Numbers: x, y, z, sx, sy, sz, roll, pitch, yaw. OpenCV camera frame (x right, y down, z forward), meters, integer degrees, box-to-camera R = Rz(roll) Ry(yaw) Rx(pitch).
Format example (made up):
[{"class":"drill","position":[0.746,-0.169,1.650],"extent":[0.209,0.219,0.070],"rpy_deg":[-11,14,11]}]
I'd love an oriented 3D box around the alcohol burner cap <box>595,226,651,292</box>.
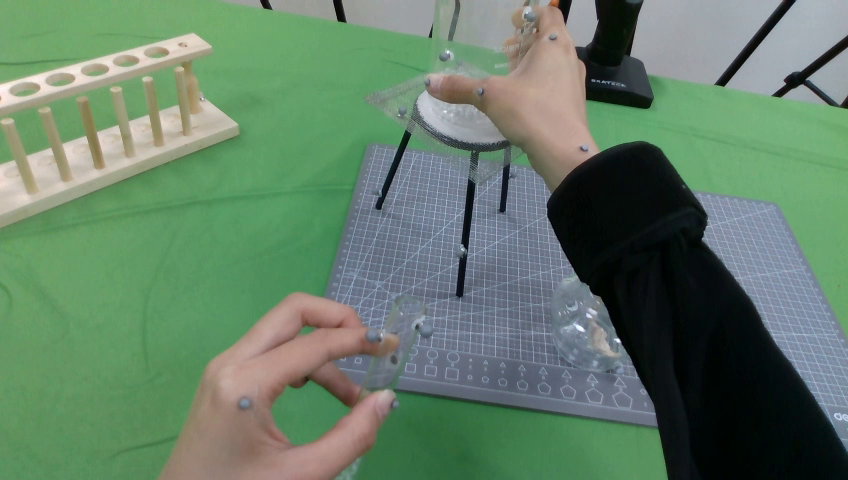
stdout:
[{"class":"alcohol burner cap","position":[0.140,0.011,0.421],"extent":[0.034,0.048,0.033],"rpy_deg":[0,51,0]}]

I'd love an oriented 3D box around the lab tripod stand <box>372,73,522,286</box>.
[{"class":"lab tripod stand","position":[0.026,-0.057,0.509],"extent":[0.148,0.132,0.147],"rpy_deg":[6,45,-6]}]

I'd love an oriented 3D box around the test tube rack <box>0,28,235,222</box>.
[{"class":"test tube rack","position":[-0.297,-0.108,0.543],"extent":[0.066,0.086,0.242],"rpy_deg":[37,50,25]}]

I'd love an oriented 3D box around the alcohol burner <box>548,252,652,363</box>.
[{"class":"alcohol burner","position":[0.135,0.037,0.447],"extent":[0.078,0.120,0.077],"rpy_deg":[6,44,-6]}]

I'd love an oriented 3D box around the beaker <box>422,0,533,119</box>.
[{"class":"beaker","position":[0.035,-0.144,0.431],"extent":[0.084,0.101,0.073],"rpy_deg":[-24,52,-27]}]

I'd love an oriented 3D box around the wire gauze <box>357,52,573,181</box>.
[{"class":"wire gauze","position":[0.032,-0.104,0.462],"extent":[0.124,0.011,0.121],"rpy_deg":[39,53,25]}]

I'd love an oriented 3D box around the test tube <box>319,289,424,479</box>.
[{"class":"test tube","position":[-0.031,0.085,0.303],"extent":[0.017,0.151,0.017],"rpy_deg":[16,31,-10]}]
